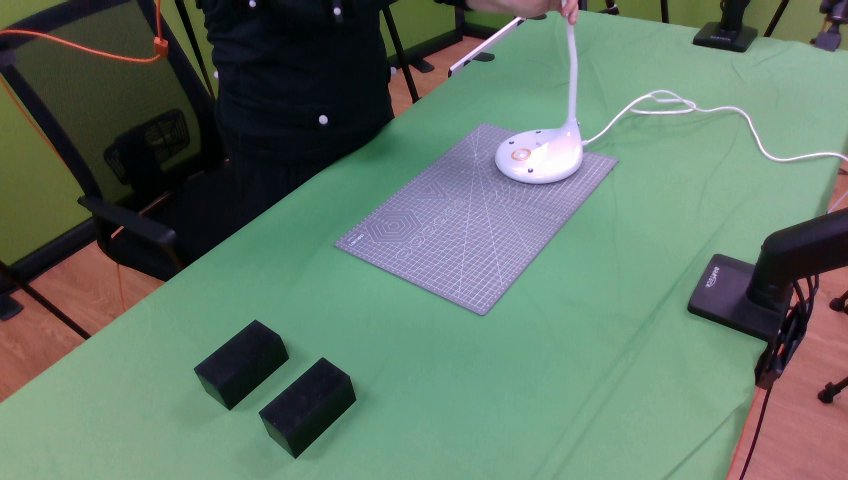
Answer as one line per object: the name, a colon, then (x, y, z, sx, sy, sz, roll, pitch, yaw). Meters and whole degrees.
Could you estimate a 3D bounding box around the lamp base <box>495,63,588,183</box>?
lamp base: (0.215, -0.217, 1.067, 0.180, 0.181, 0.159, -19, 42, -18)
